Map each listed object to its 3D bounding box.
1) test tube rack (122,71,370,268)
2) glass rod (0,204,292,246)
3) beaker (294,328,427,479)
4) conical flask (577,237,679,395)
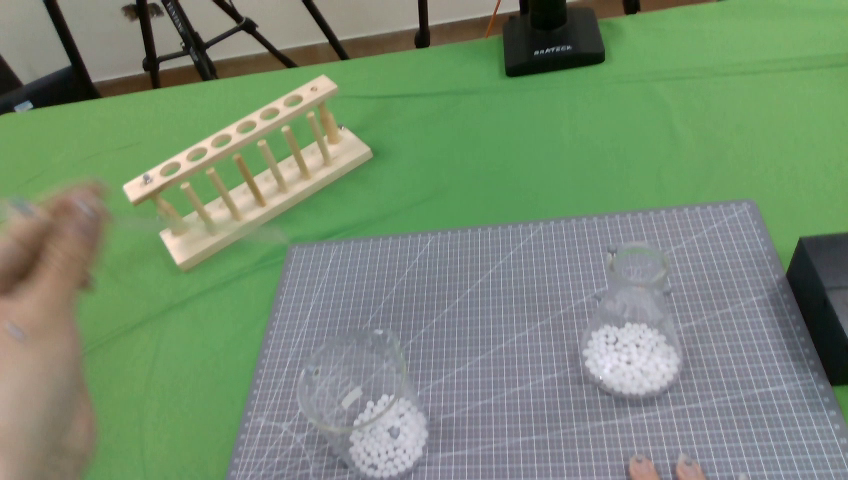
[{"bbox_3d":[-0.185,-0.080,0.658,0.242,0.086,0.066,-34,50,-15],"label":"test tube rack"},{"bbox_3d":[-0.155,-0.007,0.322,0.008,0.201,0.008,-6,81,42],"label":"glass rod"},{"bbox_3d":[-0.038,0.119,0.433,0.073,0.101,0.083,21,57,29],"label":"beaker"},{"bbox_3d":[0.145,0.051,0.428,0.075,0.123,0.074,-7,48,9],"label":"conical flask"}]
